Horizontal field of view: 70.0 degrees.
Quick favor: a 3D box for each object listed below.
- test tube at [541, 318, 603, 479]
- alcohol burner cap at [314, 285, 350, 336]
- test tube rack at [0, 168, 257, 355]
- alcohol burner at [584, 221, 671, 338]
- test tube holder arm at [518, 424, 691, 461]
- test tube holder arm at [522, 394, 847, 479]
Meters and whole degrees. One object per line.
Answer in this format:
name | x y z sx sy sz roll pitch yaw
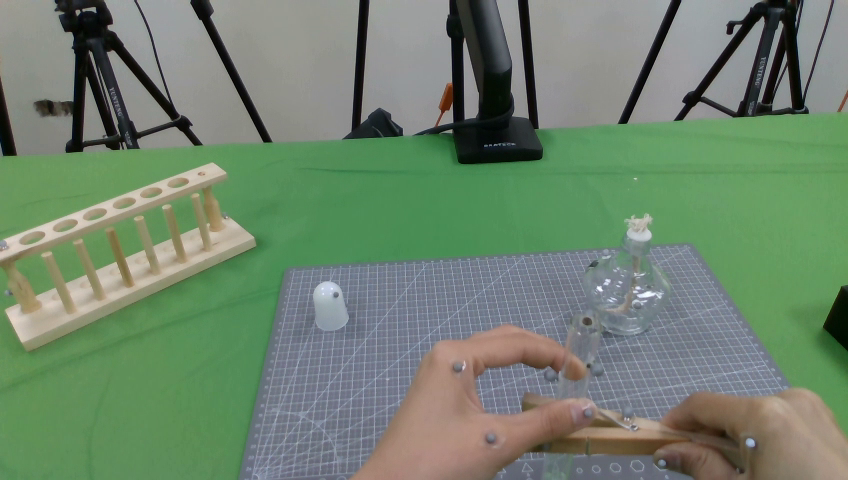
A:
test tube | 0.077 0.103 0.331 0.017 0.151 0.017 1 34 0
alcohol burner cap | -0.089 0.064 0.579 0.034 0.048 0.033 -1 36 1
test tube rack | -0.305 0.013 0.630 0.242 0.086 0.066 -29 43 -32
alcohol burner | 0.186 0.031 0.548 0.078 0.120 0.077 -1 38 1
test tube holder arm | 0.095 0.108 0.322 0.088 0.015 0.010 1 33 6
test tube holder arm | 0.139 0.110 0.316 0.177 0.015 0.013 10 36 19
